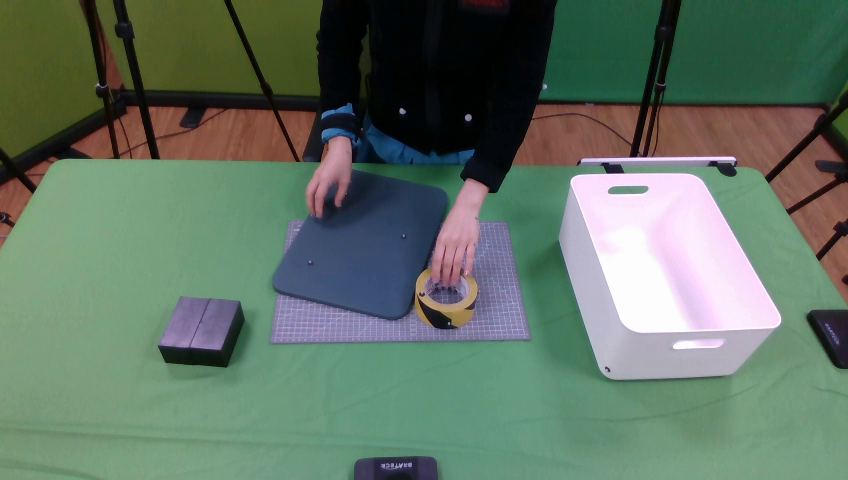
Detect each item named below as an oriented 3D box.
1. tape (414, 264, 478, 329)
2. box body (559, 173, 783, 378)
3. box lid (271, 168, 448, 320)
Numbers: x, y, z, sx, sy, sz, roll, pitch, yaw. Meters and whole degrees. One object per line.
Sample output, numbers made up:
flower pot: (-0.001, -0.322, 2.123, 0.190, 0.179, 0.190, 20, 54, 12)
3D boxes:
tape: (0.038, 0.099, 1.079, 0.117, 0.053, 0.116, 3, 45, -2)
box body: (0.405, 0.057, 1.074, 0.254, 0.161, 0.361, -2, 46, -5)
box lid: (-0.115, -0.007, 1.200, 0.263, 0.015, 0.369, 12, 46, 8)
